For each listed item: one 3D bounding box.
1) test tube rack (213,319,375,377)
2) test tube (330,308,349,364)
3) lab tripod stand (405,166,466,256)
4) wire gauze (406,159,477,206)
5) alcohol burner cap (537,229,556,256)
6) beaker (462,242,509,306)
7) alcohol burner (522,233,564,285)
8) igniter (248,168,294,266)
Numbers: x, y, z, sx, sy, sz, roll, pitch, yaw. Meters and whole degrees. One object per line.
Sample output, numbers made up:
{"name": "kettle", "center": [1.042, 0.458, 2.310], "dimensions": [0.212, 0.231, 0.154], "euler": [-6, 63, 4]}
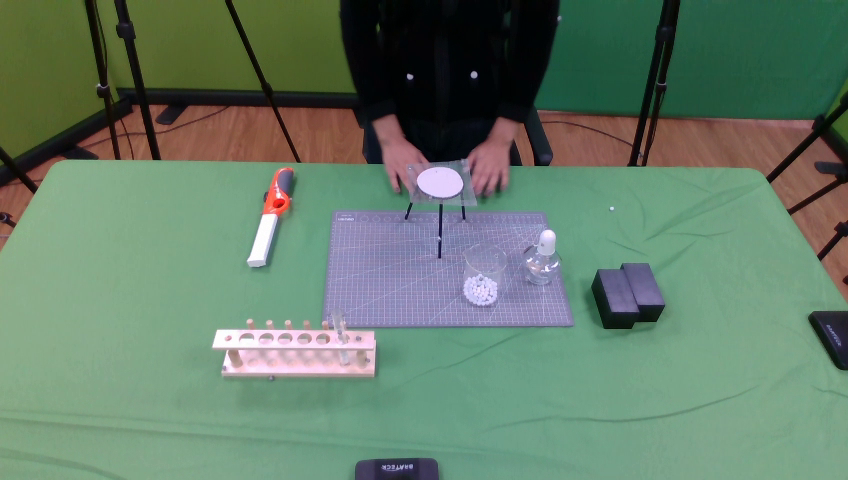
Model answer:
{"name": "test tube rack", "center": [-0.202, 0.170, 0.977], "dimensions": [0.242, 0.085, 0.066], "euler": [1, 46, -3]}
{"name": "test tube", "center": [-0.129, 0.151, 0.931], "dimensions": [0.017, 0.151, 0.017], "euler": [0, 50, 0]}
{"name": "lab tripod stand", "center": [0.030, -0.063, 1.180], "dimensions": [0.148, 0.132, 0.147], "euler": [3, 47, -3]}
{"name": "wire gauze", "center": [0.031, -0.108, 1.129], "dimensions": [0.125, 0.011, 0.120], "euler": [-1, 48, -5]}
{"name": "alcohol burner cap", "center": [0.223, 0.001, 1.095], "dimensions": [0.034, 0.048, 0.033], "euler": [0, 44, 1]}
{"name": "beaker", "center": [0.105, 0.064, 1.087], "dimensions": [0.084, 0.101, 0.073], "euler": [18, 47, 14]}
{"name": "alcohol burner", "center": [0.223, 0.027, 1.121], "dimensions": [0.078, 0.119, 0.077], "euler": [2, 48, -2]}
{"name": "igniter", "center": [-0.307, -0.055, 1.225], "dimensions": [0.057, 0.025, 0.275], "euler": [-3, 46, 6]}
